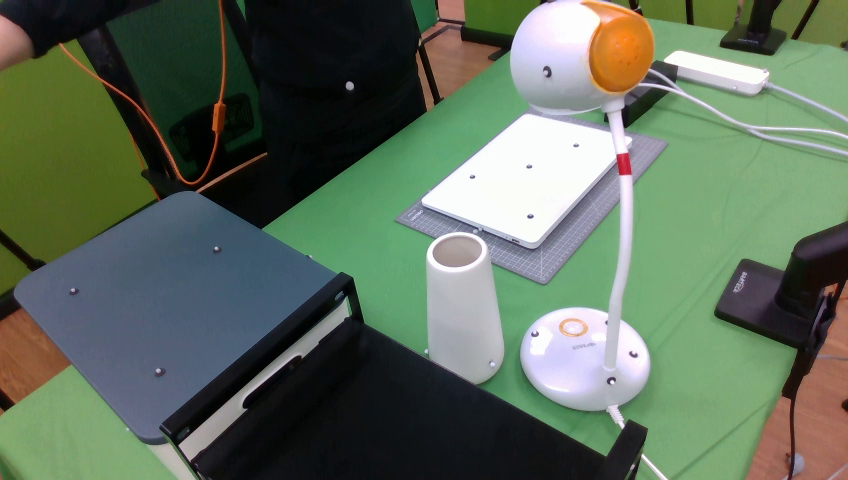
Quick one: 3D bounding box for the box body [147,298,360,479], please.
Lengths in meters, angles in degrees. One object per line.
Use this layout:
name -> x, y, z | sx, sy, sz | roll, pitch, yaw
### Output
box body -> -0.288, 0.118, 0.772 | 0.361, 0.161, 0.255 | 26, 50, 33

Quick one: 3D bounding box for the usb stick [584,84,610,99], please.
usb stick -> 0.353, -0.306, 1.252 | 0.027, 0.021, 0.058 | 0, 0, -40

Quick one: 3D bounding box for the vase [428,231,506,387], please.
vase -> 0.050, 0.087, 0.728 | 0.098, 0.201, 0.097 | -3, 40, 3

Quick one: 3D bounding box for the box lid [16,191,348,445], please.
box lid -> -0.295, 0.062, 0.723 | 0.368, 0.015, 0.264 | 26, 51, 34

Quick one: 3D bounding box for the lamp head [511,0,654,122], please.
lamp head -> 0.155, -0.168, 0.563 | 0.113, 0.113, 0.122 | -18, 23, -12

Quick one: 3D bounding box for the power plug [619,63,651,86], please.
power plug -> 0.435, -0.342, 1.265 | 0.035, 0.053, 0.072 | 6, 30, -14

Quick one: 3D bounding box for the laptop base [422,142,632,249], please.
laptop base -> 0.192, -0.117, 1.087 | 0.233, 0.023, 0.355 | 21, 47, 34

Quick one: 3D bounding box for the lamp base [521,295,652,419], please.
lamp base -> 0.200, 0.095, 0.710 | 0.161, 0.181, 0.178 | -16, 43, -10

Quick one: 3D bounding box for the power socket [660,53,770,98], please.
power socket -> 0.616, -0.355, 1.292 | 0.225, 0.033, 0.072 | 29, 53, 35

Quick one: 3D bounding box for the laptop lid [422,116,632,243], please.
laptop lid -> 0.189, -0.126, 1.081 | 0.239, 0.013, 0.358 | 23, 48, 35

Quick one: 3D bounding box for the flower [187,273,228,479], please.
flower -> -0.282, 0.161, 0.819 | 0.044, 0.038, 0.359 | 9, 34, -21
